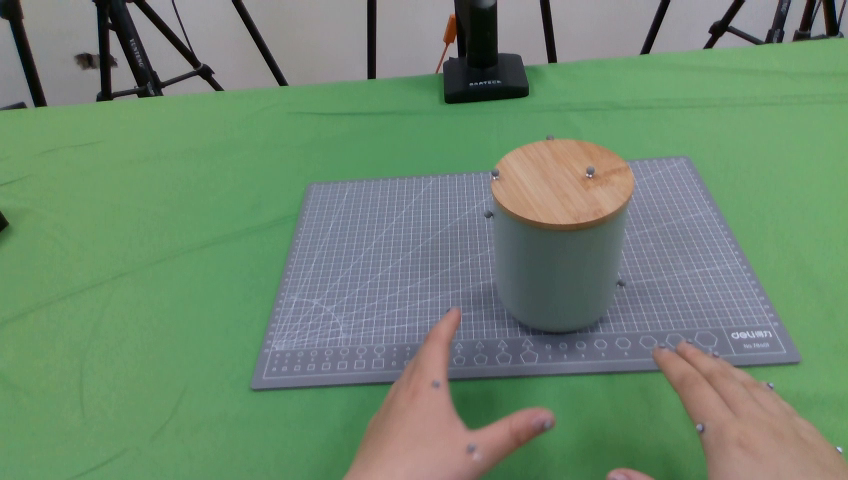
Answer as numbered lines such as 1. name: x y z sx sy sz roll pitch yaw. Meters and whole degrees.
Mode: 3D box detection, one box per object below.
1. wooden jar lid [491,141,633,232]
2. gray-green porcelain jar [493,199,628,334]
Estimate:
1. wooden jar lid: 0.106 -0.039 0.473 0.108 0.021 0.107 -5 42 5
2. gray-green porcelain jar: 0.112 0.008 0.513 0.106 0.128 0.105 -4 41 4
